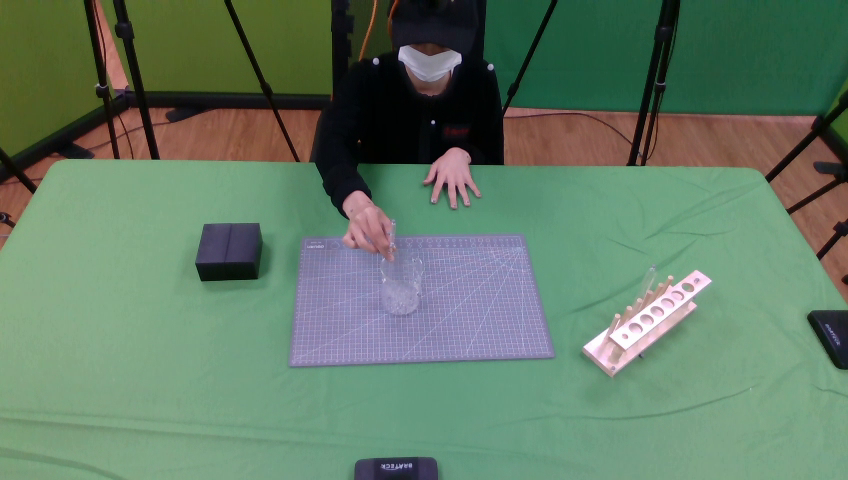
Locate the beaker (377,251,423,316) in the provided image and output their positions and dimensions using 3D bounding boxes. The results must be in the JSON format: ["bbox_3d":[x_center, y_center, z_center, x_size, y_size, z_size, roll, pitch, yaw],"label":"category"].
[{"bbox_3d":[-0.040,0.081,1.060,0.074,0.101,0.083,-32,57,-30],"label":"beaker"}]

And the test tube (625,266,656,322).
[{"bbox_3d":[0.366,0.096,1.027,0.017,0.151,0.017,1,47,0],"label":"test tube"}]

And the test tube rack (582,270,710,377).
[{"bbox_3d":[0.389,0.132,1.057,0.242,0.085,0.066,-28,54,-28],"label":"test tube rack"}]

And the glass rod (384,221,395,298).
[{"bbox_3d":[-0.060,0.037,1.021,0.008,0.200,0.008,4,49,-4],"label":"glass rod"}]
